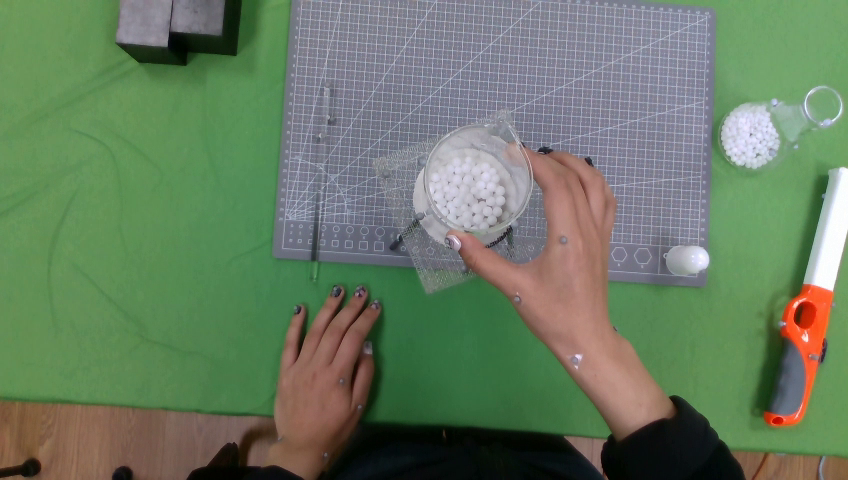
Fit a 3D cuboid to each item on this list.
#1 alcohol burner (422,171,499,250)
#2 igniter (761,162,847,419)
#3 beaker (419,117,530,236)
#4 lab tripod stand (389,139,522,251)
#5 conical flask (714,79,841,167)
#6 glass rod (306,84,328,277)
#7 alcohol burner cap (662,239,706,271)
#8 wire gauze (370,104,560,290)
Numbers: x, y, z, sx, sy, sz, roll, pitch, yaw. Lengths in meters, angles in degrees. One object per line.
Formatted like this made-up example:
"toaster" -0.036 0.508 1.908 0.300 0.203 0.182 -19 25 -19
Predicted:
"alcohol burner" 0.034 -0.030 0.572 0.078 0.119 0.077 0 85 0
"igniter" 0.401 0.053 0.628 0.057 0.025 0.276 18 86 -11
"beaker" 0.034 -0.043 0.450 0.074 0.100 0.084 27 86 -1
"lab tripod stand" 0.031 -0.032 0.562 0.148 0.131 0.148 0 88 -2
"conical flask" 0.345 -0.118 0.588 0.075 0.122 0.075 0 86 -1
"glass rod" -0.109 -0.061 0.621 0.008 0.008 0.199 5 89 -2
"alcohol burner cap" 0.267 0.014 0.615 0.034 0.048 0.034 0 87 -1
"wire gauze" 0.035 -0.036 0.497 0.125 0.011 0.121 -22 90 -5
